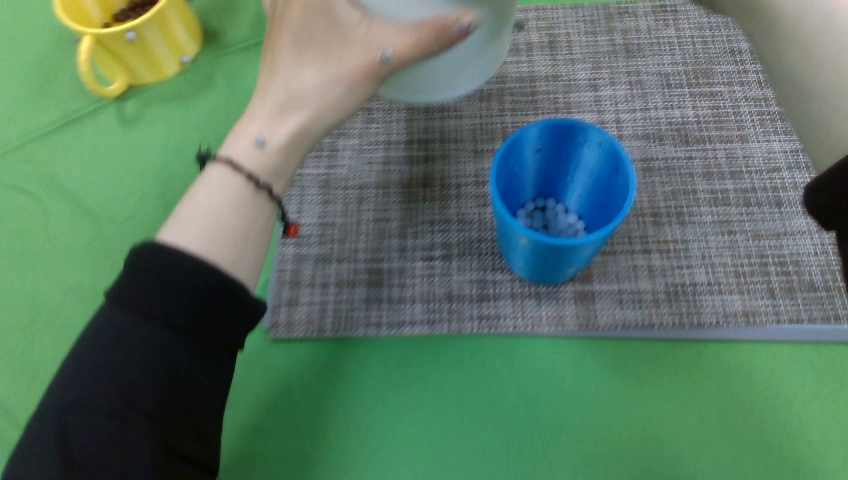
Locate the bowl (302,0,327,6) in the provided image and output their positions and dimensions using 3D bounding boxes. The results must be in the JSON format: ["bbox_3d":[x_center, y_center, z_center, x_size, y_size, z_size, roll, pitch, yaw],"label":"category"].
[{"bbox_3d":[-0.093,-0.266,0.539,0.151,0.077,0.150,-1,65,3],"label":"bowl"}]

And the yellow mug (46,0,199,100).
[{"bbox_3d":[-0.258,-0.179,0.514,0.100,0.064,0.130,10,67,8],"label":"yellow mug"}]

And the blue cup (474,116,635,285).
[{"bbox_3d":[0.083,-0.016,0.396,0.092,0.101,0.092,-2,65,5],"label":"blue cup"}]

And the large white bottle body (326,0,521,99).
[{"bbox_3d":[0.001,-0.187,0.349,0.131,0.186,0.129,1,67,-2],"label":"large white bottle body"}]
